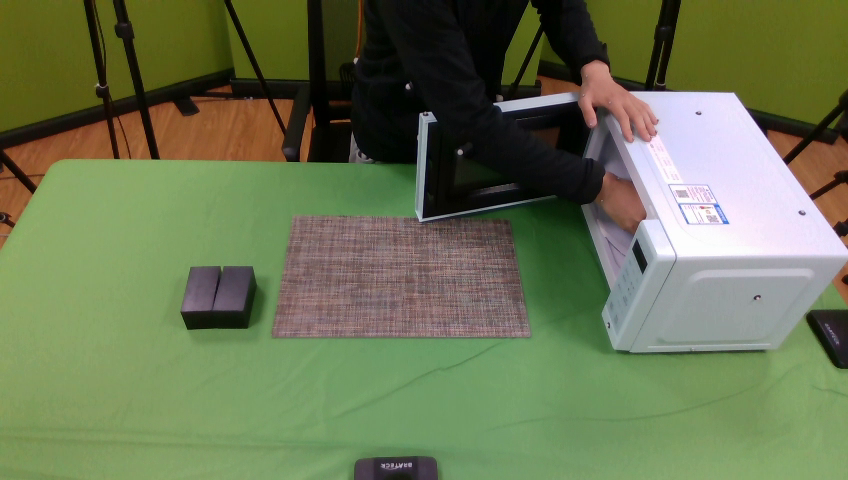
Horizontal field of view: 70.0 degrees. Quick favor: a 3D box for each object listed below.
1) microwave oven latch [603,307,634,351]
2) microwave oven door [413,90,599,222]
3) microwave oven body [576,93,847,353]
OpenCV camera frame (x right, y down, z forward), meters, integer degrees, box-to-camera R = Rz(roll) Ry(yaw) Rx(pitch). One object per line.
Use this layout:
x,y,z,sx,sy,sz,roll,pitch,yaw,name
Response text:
0.332,0.153,1.044,0.030,0.029,0.078,0,45,-3,microwave oven latch
0.157,-0.165,1.198,0.356,0.245,0.039,-11,48,-15,microwave oven door
0.475,-0.041,1.109,0.326,0.261,0.438,-1,45,-4,microwave oven body
